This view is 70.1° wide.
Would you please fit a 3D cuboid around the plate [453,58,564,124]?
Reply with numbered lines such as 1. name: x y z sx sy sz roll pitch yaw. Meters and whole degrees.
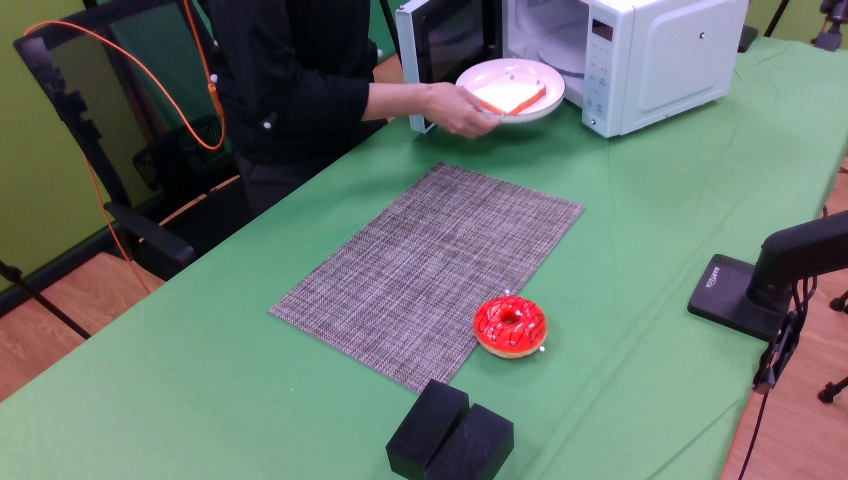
1. plate: 0.159 -0.277 1.145 0.208 0.039 0.206 -2 44 2

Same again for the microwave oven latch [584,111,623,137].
1. microwave oven latch: 0.337 -0.222 1.142 0.030 0.029 0.078 -21 42 -14

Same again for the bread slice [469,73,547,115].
1. bread slice: 0.165 -0.279 1.149 0.132 0.019 0.104 -36 53 -26

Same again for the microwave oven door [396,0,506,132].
1. microwave oven door: 0.069 -0.417 1.247 0.039 0.245 0.356 19 48 28

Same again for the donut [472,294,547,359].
1. donut: 0.114 0.114 0.803 0.099 0.048 0.098 0 40 1

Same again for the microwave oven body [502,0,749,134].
1. microwave oven body: 0.382 -0.444 1.246 0.327 0.261 0.437 -22 42 -16
